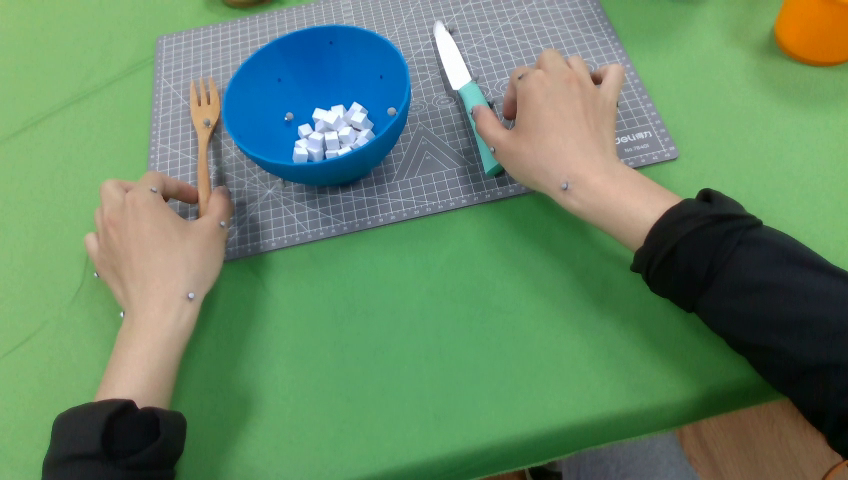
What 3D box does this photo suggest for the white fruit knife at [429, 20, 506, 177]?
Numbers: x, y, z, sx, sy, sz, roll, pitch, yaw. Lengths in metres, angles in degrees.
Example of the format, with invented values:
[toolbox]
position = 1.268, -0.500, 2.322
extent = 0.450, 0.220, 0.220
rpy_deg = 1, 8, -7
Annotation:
[white fruit knife]
position = 0.035, -0.137, 0.550
extent = 0.027, 0.016, 0.205
rpy_deg = -8, 57, -14

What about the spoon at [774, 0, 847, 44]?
[spoon]
position = 0.380, -0.221, 0.481
extent = 0.022, 0.193, 0.041
rpy_deg = 16, 56, -35

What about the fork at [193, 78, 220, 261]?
[fork]
position = -0.194, -0.069, 0.538
extent = 0.028, 0.019, 0.205
rpy_deg = -18, 55, 6

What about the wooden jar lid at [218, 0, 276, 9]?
[wooden jar lid]
position = -0.191, -0.296, 0.675
extent = 0.108, 0.021, 0.107
rpy_deg = -2, 59, 4

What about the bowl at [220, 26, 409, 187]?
[bowl]
position = -0.082, -0.097, 0.505
extent = 0.151, 0.077, 0.150
rpy_deg = -3, 59, 6
